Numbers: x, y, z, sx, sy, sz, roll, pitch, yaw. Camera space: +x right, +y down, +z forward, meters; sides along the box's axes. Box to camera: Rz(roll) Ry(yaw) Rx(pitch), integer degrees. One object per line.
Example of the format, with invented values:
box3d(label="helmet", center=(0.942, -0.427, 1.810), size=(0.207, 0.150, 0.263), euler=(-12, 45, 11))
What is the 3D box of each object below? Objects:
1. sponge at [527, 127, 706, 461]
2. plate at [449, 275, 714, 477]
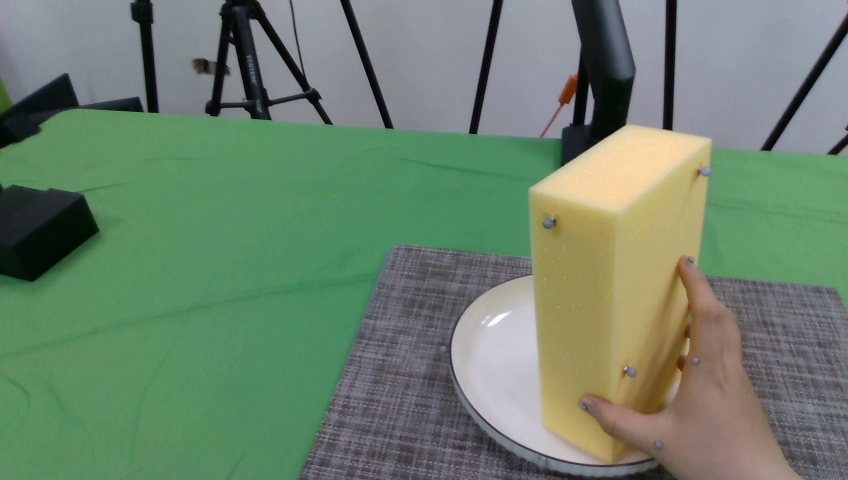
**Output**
box3d(label="sponge", center=(0.136, 0.039, 0.429), size=(0.060, 0.208, 0.118), euler=(22, 43, 40))
box3d(label="plate", center=(0.124, 0.106, 0.500), size=(0.208, 0.039, 0.205), euler=(-1, 36, 1))
